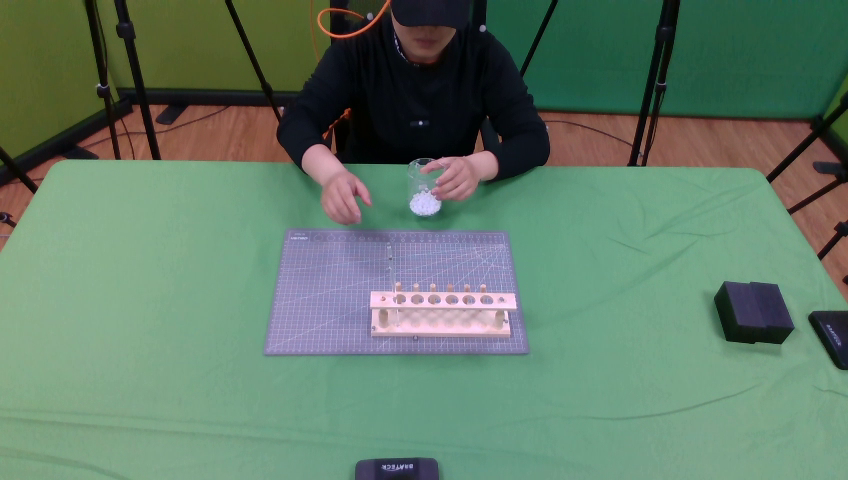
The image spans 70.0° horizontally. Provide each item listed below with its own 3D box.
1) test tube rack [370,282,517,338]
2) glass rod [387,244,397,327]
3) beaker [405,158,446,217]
[{"bbox_3d":[0.030,0.116,1.041,0.242,0.085,0.066,1,46,-3],"label":"test tube rack"},{"bbox_3d":[-0.051,0.078,0.979,0.008,0.201,0.008,-1,45,1],"label":"glass rod"},{"bbox_3d":[0.004,-0.104,1.215,0.084,0.101,0.073,-15,47,-16],"label":"beaker"}]
